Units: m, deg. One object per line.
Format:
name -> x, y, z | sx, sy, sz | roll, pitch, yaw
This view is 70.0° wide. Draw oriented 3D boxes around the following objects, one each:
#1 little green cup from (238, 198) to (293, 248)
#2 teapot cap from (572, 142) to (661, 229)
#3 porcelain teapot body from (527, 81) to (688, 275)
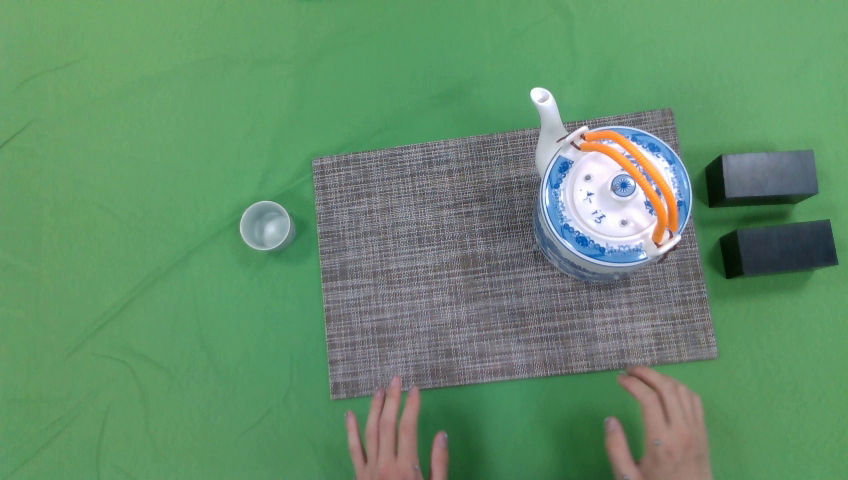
little green cup -> -0.192, -0.019, 0.745 | 0.061, 0.039, 0.061 | -1, 80, 6
teapot cap -> 0.184, -0.054, 0.576 | 0.085, 0.044, 0.085 | -1, 78, 6
porcelain teapot body -> 0.169, -0.069, 0.620 | 0.145, 0.226, 0.204 | -40, 79, -1
